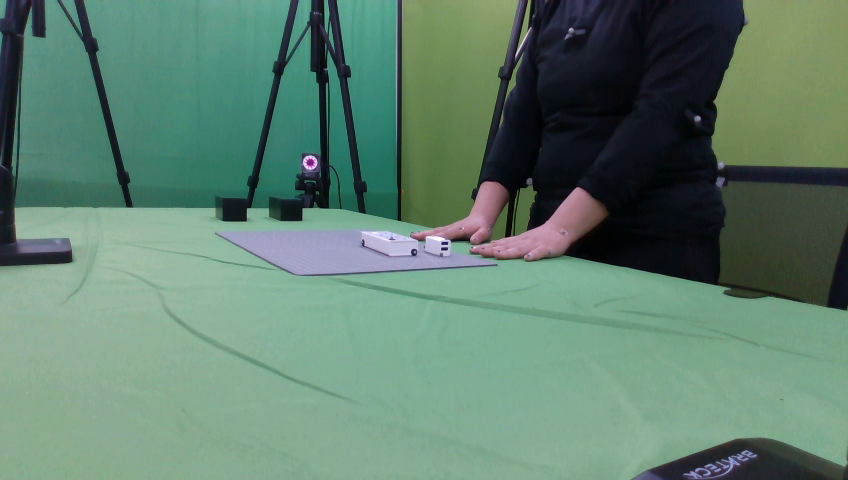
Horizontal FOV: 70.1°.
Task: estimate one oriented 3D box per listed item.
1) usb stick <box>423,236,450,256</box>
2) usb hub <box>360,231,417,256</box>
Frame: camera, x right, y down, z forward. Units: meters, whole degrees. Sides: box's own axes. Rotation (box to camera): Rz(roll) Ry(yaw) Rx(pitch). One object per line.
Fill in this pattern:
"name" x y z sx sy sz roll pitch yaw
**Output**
"usb stick" 0.017 0.009 0.937 0.021 0.027 0.059 -1 5 -29
"usb hub" -0.059 0.004 0.951 0.050 0.025 0.124 -1 8 -26
